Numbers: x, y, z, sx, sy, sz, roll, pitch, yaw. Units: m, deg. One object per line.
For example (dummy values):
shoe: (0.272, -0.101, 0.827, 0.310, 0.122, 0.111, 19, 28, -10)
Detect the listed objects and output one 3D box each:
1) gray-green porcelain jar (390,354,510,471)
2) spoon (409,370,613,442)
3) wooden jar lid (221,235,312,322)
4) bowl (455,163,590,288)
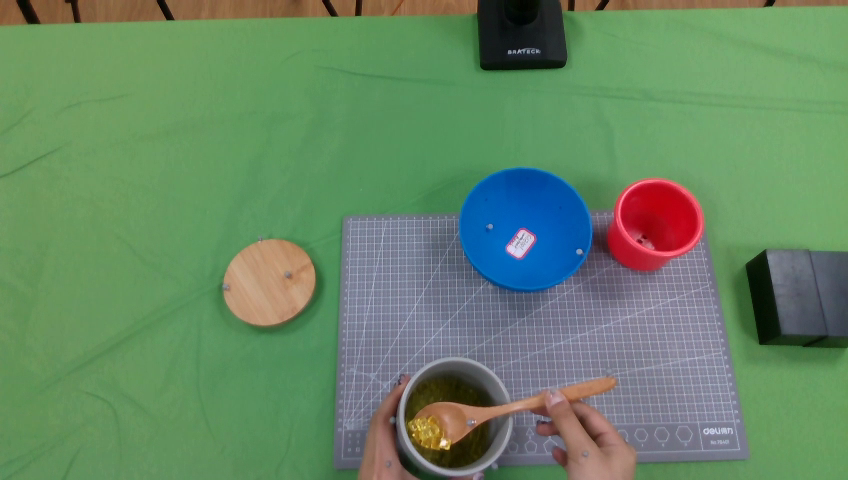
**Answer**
gray-green porcelain jar: (0.020, 0.177, 0.609, 0.106, 0.127, 0.105, 3, 69, -7)
spoon: (0.077, 0.150, 0.557, 0.193, 0.022, 0.041, -18, 75, 17)
wooden jar lid: (-0.187, 0.047, 0.726, 0.108, 0.021, 0.107, 0, 68, 1)
bowl: (0.110, -0.006, 0.709, 0.151, 0.077, 0.150, 0, 68, 1)
